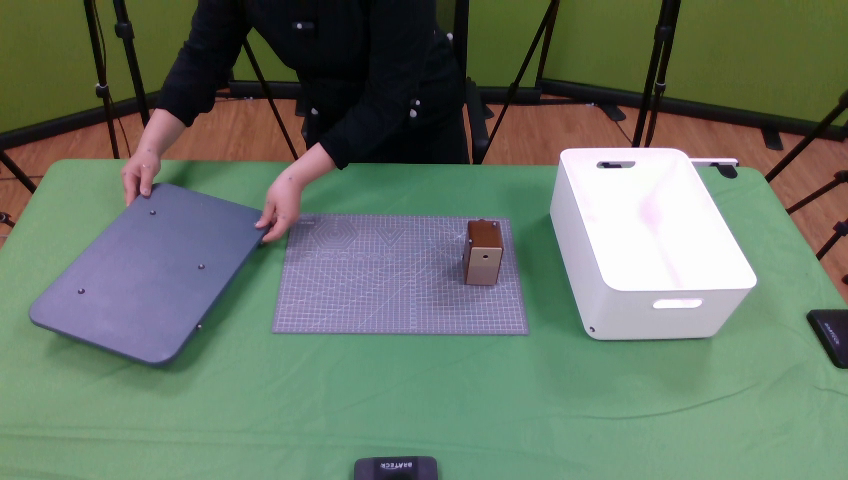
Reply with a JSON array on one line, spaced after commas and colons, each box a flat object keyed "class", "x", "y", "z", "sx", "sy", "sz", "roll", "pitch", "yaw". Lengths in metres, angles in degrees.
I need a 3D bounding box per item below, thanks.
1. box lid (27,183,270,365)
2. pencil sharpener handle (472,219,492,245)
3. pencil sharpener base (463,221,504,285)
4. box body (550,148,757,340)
[{"class": "box lid", "x": -0.467, "y": 0.042, "z": 1.068, "sx": 0.263, "sy": 0.015, "sz": 0.370, "roll": 16, "pitch": 46, "yaw": 7}, {"class": "pencil sharpener handle", "x": 0.105, "y": -0.021, "z": 1.146, "sx": 0.036, "sy": 0.068, "sz": 0.030, "roll": 6, "pitch": 44, "yaw": -8}, {"class": "pencil sharpener base", "x": 0.107, "y": 0.024, "z": 1.119, "sx": 0.061, "sy": 0.107, "sz": 0.076, "roll": 1, "pitch": 45, "yaw": -2}, {"class": "box body", "x": 0.395, "y": 0.003, "z": 1.127, "sx": 0.254, "sy": 0.161, "sz": 0.361, "roll": -1, "pitch": 46, "yaw": -5}]
